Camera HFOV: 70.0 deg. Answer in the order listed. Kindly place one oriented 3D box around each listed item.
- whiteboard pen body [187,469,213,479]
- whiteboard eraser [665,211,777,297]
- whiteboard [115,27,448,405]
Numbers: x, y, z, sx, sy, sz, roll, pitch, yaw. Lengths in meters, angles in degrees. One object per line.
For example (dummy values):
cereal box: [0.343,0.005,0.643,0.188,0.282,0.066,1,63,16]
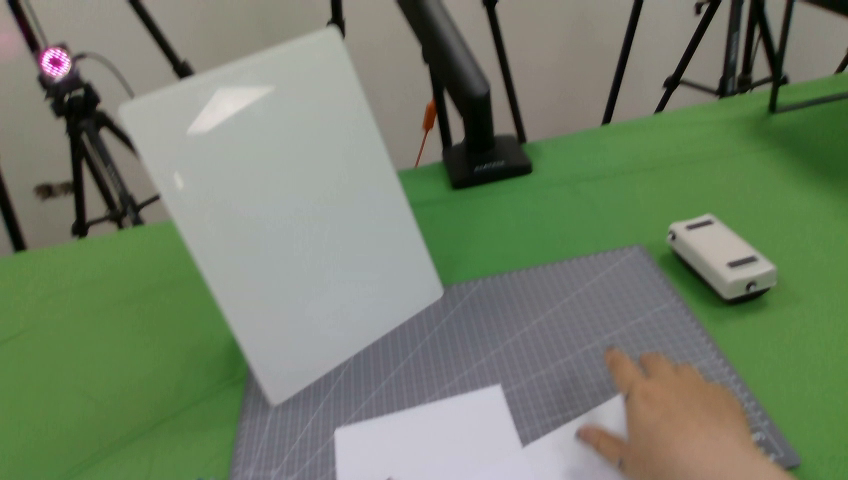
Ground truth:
whiteboard pen body: [-0.232,0.236,0.483,0.017,0.017,0.140,21,45,39]
whiteboard eraser: [0.304,0.014,0.627,0.055,0.042,0.111,-17,35,-5]
whiteboard: [-0.146,-0.029,0.642,0.217,0.307,0.143,-31,18,-24]
